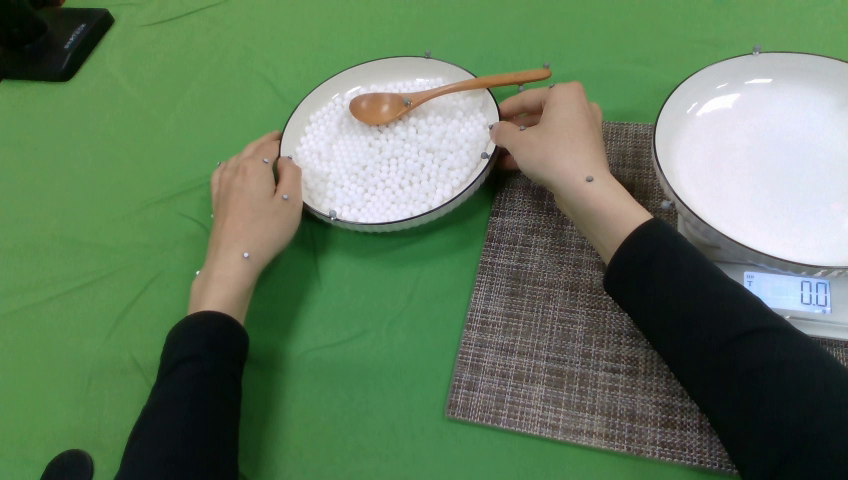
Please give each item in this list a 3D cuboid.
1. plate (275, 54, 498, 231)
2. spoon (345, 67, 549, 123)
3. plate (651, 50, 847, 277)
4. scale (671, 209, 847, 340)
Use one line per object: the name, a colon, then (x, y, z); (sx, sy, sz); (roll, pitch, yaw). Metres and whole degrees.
plate: (-0.034, -0.091, 0.568); (0.209, 0.038, 0.207); (-4, 57, 7)
spoon: (0.020, -0.141, 0.572); (0.193, 0.022, 0.041); (-10, 56, 12)
plate: (0.277, -0.059, 0.455); (0.207, 0.039, 0.205); (-4, 57, 6)
scale: (0.274, -0.024, 0.473); (0.148, 0.032, 0.199); (7, 59, 14)
